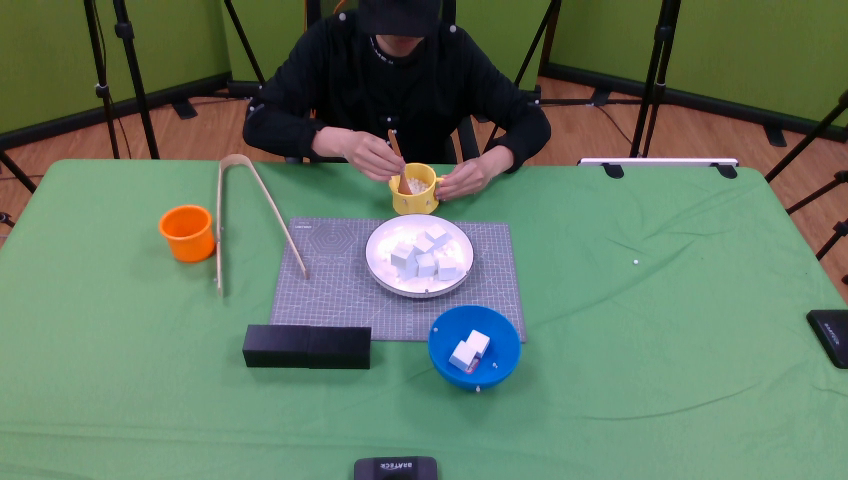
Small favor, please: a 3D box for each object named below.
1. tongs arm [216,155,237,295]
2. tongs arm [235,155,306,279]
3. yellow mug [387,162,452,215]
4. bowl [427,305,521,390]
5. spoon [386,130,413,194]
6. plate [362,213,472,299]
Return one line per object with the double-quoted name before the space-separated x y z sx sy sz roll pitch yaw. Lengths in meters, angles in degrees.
"tongs arm" -0.388 -0.043 1.201 0.051 0.026 0.382 -9 46 -13
"tongs arm" -0.312 -0.058 1.225 0.028 0.028 0.385 -22 50 -19
"yellow mug" -0.007 -0.106 1.255 0.131 0.064 0.099 -5 50 3
"bowl" 0.076 0.188 0.985 0.151 0.077 0.150 3 46 -3
"spoon" -0.048 -0.141 1.187 0.041 0.195 0.021 20 54 29
"plate" -0.013 0.034 1.150 0.208 0.039 0.206 2 46 -2
